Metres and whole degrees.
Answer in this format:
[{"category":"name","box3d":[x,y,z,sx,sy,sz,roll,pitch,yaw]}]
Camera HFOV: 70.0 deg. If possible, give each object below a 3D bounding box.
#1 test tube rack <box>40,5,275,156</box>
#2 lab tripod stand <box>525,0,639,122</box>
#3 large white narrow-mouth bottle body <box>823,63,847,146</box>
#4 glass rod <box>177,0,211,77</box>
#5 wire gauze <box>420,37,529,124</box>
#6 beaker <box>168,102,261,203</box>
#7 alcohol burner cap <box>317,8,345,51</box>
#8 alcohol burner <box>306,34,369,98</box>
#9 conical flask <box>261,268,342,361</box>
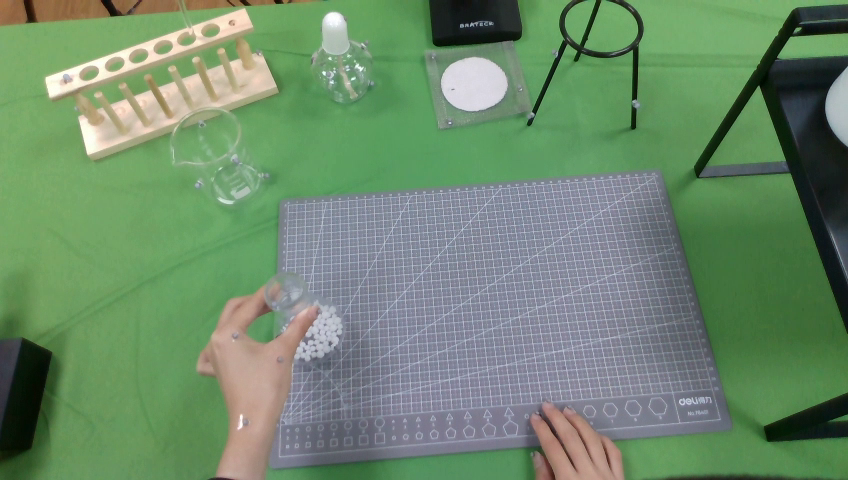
[{"category":"test tube rack","box3d":[-0.316,-0.193,0.739,0.242,0.086,0.066,-23,66,-9]},{"category":"lab tripod stand","box3d":[0.191,-0.208,0.704,0.148,0.132,0.147,0,64,0]},{"category":"large white narrow-mouth bottle body","box3d":[0.389,-0.149,0.439,0.102,0.196,0.101,0,63,1]},{"category":"glass rod","box3d":[-0.273,-0.257,0.694,0.008,0.201,0.008,1,63,-2]},{"category":"wire gauze","box3d":[0.063,-0.209,0.778,0.121,0.011,0.124,-9,65,-4]},{"category":"beaker","box3d":[-0.233,-0.092,0.681,0.073,0.101,0.084,40,72,19]},{"category":"alcohol burner cap","box3d":[-0.108,-0.247,0.703,0.034,0.048,0.033,3,63,-7]},{"category":"alcohol burner","box3d":[-0.107,-0.230,0.735,0.078,0.120,0.077,0,63,1]},{"category":"conical flask","box3d":[-0.125,0.067,0.587,0.075,0.123,0.074,0,64,1]}]
